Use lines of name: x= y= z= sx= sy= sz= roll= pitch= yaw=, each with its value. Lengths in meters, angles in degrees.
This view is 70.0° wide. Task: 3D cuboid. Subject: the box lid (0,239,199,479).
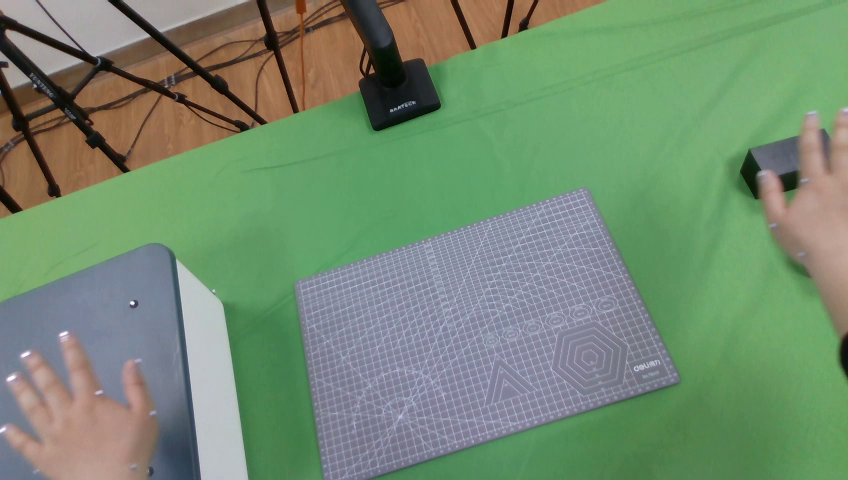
box lid: x=-0.394 y=0.185 z=0.687 sx=0.263 sy=0.015 sz=0.367 roll=-21 pitch=61 yaw=1

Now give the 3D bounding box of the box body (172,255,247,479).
box body: x=-0.379 y=0.221 z=0.751 sx=0.254 sy=0.162 sz=0.360 roll=-21 pitch=60 yaw=0
